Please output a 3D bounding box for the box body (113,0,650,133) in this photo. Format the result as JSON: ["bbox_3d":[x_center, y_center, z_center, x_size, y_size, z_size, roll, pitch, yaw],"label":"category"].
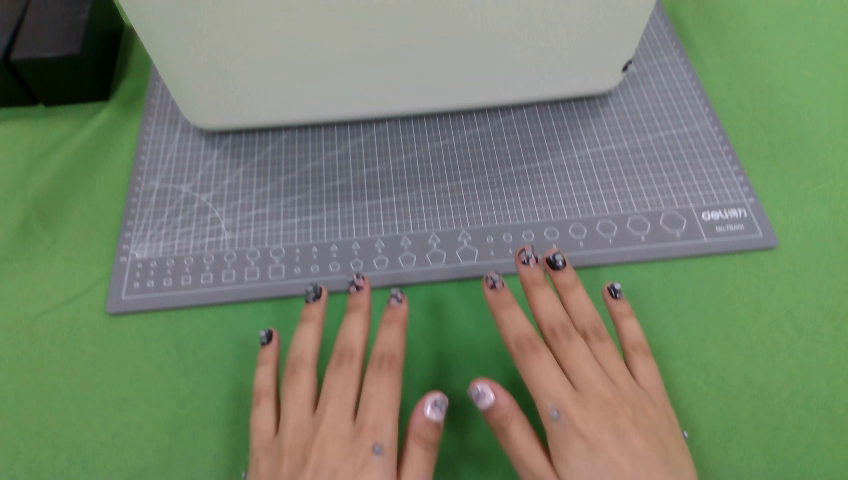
[{"bbox_3d":[-0.028,-0.234,0.470,0.364,0.162,0.251,-7,58,-4],"label":"box body"}]
